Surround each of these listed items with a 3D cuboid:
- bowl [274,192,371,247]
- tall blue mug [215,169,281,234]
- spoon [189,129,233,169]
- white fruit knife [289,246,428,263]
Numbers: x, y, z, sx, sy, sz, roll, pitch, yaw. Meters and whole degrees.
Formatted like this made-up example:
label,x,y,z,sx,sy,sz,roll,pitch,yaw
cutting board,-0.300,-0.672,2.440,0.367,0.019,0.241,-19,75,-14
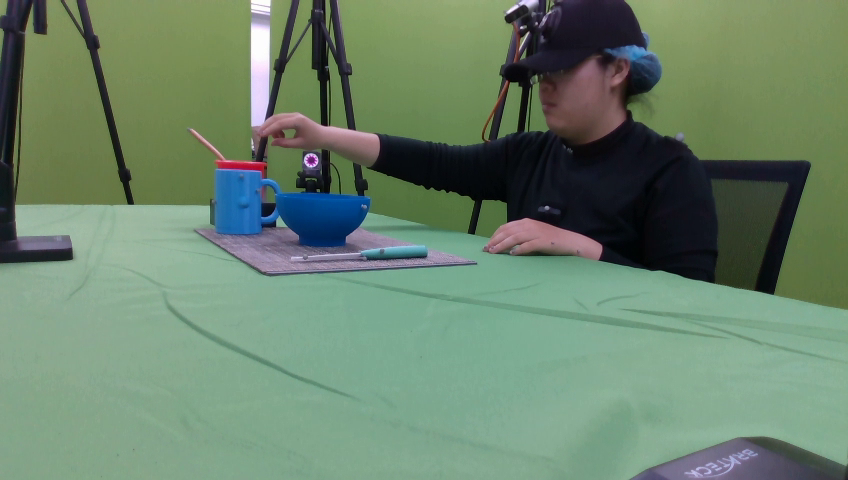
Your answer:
label,x,y,z,sx,sy,sz,roll,pitch,yaw
bowl,-0.161,-0.033,0.958,0.151,0.077,0.151,3,8,0
tall blue mug,-0.313,-0.069,1.061,0.077,0.108,0.108,6,8,31
spoon,-0.389,-0.150,1.174,0.193,0.021,0.042,49,20,6
white fruit knife,-0.082,0.022,0.822,0.208,0.016,0.027,-3,-20,-30
